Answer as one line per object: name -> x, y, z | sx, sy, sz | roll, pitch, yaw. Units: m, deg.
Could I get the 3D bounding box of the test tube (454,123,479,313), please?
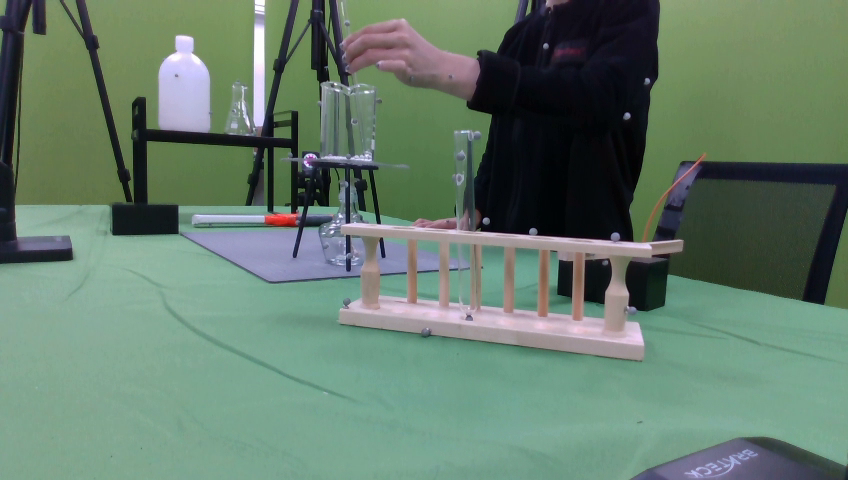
test tube -> 0.034, -0.016, 0.477 | 0.017, 0.150, 0.017 | -2, 9, 1

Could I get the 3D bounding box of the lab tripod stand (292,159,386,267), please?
lab tripod stand -> -0.105, -0.039, 0.797 | 0.148, 0.131, 0.148 | 2, 5, 0

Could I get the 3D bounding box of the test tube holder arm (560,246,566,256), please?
test tube holder arm -> 0.173, 0.007, 0.611 | 0.088, 0.015, 0.010 | -3, 11, -29

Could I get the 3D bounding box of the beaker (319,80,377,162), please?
beaker -> -0.098, -0.151, 0.777 | 0.074, 0.100, 0.084 | 1, 7, -8

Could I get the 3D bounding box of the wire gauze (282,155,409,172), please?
wire gauze -> -0.104, -0.103, 0.785 | 0.126, 0.011, 0.121 | 1, 8, -38

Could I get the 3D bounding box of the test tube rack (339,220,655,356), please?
test tube rack -> 0.056, 0.032, 0.495 | 0.242, 0.085, 0.067 | 4, 7, 15

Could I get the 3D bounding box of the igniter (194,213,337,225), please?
igniter -> -0.306, -0.041, 1.197 | 0.278, 0.025, 0.057 | -2, -2, -30

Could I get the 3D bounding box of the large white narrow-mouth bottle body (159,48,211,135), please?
large white narrow-mouth bottle body -> -0.503, -0.322, 1.275 | 0.102, 0.194, 0.102 | 2, 7, 0

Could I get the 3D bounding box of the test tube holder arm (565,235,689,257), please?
test tube holder arm -> 0.216, 0.006, 0.629 | 0.179, 0.015, 0.013 | -3, 11, -30

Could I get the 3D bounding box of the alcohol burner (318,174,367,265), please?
alcohol burner -> -0.100, -0.028, 0.790 | 0.078, 0.119, 0.078 | 0, 6, 0

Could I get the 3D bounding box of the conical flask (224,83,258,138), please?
conical flask -> -0.422, -0.299, 1.395 | 0.075, 0.122, 0.075 | 2, 7, 0

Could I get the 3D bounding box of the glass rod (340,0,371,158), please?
glass rod -> -0.085, -0.201, 0.757 | 0.008, 0.199, 0.008 | -8, 15, 2

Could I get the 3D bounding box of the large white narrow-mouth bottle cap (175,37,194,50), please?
large white narrow-mouth bottle cap -> -0.501, -0.409, 1.264 | 0.038, 0.024, 0.037 | 2, 7, 0

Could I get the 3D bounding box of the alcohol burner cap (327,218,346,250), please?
alcohol burner cap -> -0.132, -0.010, 0.927 | 0.034, 0.048, 0.034 | 3, 8, 0
